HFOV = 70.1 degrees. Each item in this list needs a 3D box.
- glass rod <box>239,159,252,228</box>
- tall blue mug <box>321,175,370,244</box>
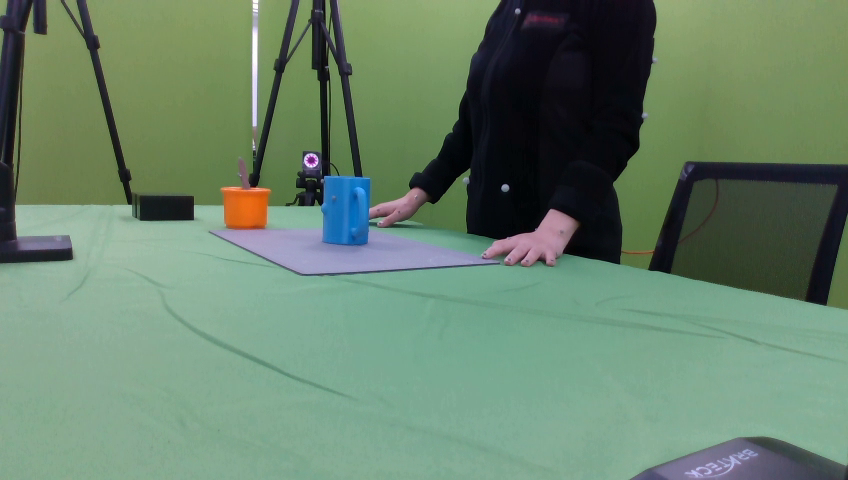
[{"bbox_3d":[-0.346,-0.093,1.170,0.008,0.008,0.199,-1,46,-23],"label":"glass rod"},{"bbox_3d":[-0.116,-0.049,0.991,0.106,0.108,0.078,7,8,33],"label":"tall blue mug"}]
